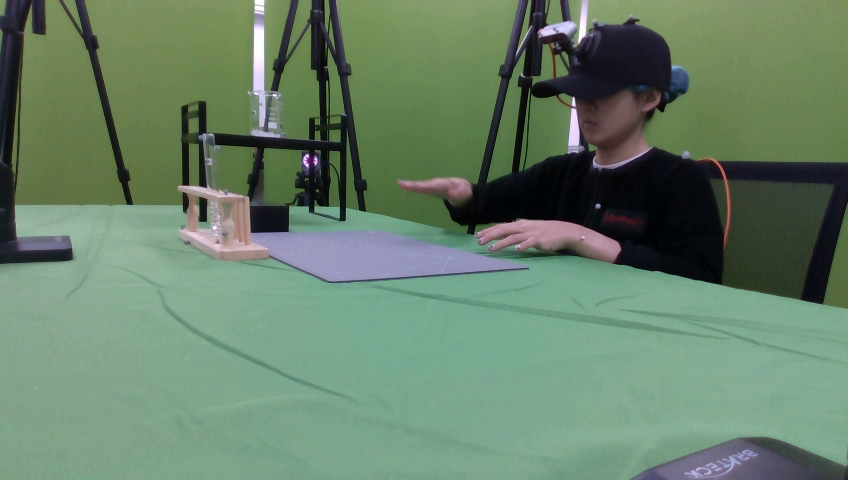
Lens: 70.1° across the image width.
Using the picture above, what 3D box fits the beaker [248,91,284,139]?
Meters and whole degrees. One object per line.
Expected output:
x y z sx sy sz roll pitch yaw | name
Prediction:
-0.353 -0.277 1.343 0.073 0.100 0.084 8 9 39 | beaker

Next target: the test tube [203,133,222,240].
-0.296 -0.075 0.849 0.017 0.150 0.017 -2 6 1 | test tube

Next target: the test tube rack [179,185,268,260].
-0.303 -0.032 0.898 0.067 0.085 0.241 -2 9 -33 | test tube rack
